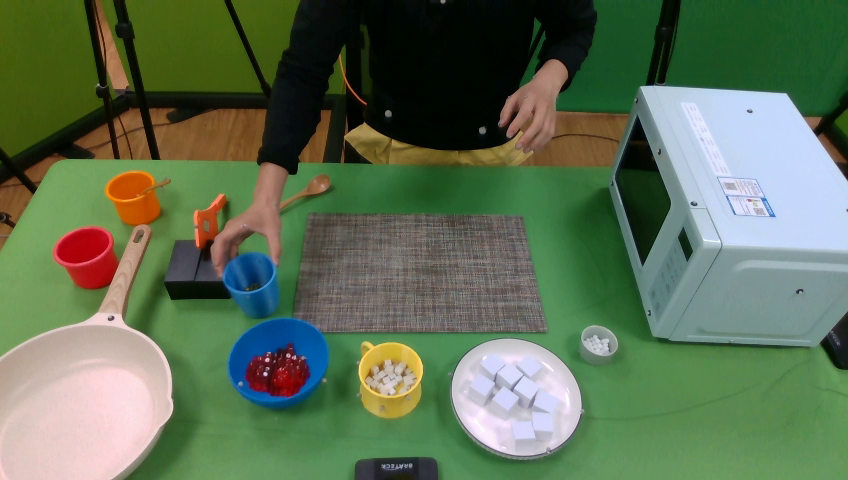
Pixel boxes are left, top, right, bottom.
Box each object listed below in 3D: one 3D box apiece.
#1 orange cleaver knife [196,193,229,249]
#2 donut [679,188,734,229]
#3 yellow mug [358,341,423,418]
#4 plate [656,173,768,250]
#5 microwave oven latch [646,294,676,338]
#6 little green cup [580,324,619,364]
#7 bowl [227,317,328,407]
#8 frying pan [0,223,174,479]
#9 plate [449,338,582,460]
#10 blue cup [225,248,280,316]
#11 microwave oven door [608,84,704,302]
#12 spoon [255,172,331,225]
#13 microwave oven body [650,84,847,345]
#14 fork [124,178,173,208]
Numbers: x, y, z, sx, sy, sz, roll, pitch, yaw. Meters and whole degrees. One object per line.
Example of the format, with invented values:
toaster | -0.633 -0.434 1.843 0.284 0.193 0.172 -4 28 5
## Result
orange cleaver knife | -0.406 -0.041 1.163 0.012 0.077 0.210 0 17 -3
donut | 0.545 -0.062 1.175 0.099 0.048 0.098 0 44 0
yellow mug | -0.062 0.210 0.961 0.100 0.064 0.130 -29 54 -27
plate | 0.556 -0.053 1.186 0.209 0.038 0.208 2 45 -2
microwave oven latch | 0.412 0.133 1.060 0.030 0.029 0.078 3 46 0
little green cup | 0.296 0.179 1.031 0.061 0.039 0.061 2 45 -2
bowl | -0.222 0.203 0.947 0.151 0.077 0.150 2 46 -2
frying pan | -0.504 0.169 0.941 0.307 0.103 0.485 5 54 -1
plate | 0.141 0.251 0.955 0.208 0.039 0.206 2 46 -2
blue cup | -0.286 0.080 1.037 0.093 0.101 0.092 1 52 -1
microwave oven door | 0.424 -0.096 1.138 0.039 0.245 0.353 3 46 -1
spoon | -0.272 -0.087 1.257 0.041 0.022 0.193 43 57 16
microwave oven body | 0.569 -0.054 1.116 0.326 0.261 0.439 2 46 -1
fork | -0.525 -0.090 1.154 0.207 0.019 0.028 -17 26 45
